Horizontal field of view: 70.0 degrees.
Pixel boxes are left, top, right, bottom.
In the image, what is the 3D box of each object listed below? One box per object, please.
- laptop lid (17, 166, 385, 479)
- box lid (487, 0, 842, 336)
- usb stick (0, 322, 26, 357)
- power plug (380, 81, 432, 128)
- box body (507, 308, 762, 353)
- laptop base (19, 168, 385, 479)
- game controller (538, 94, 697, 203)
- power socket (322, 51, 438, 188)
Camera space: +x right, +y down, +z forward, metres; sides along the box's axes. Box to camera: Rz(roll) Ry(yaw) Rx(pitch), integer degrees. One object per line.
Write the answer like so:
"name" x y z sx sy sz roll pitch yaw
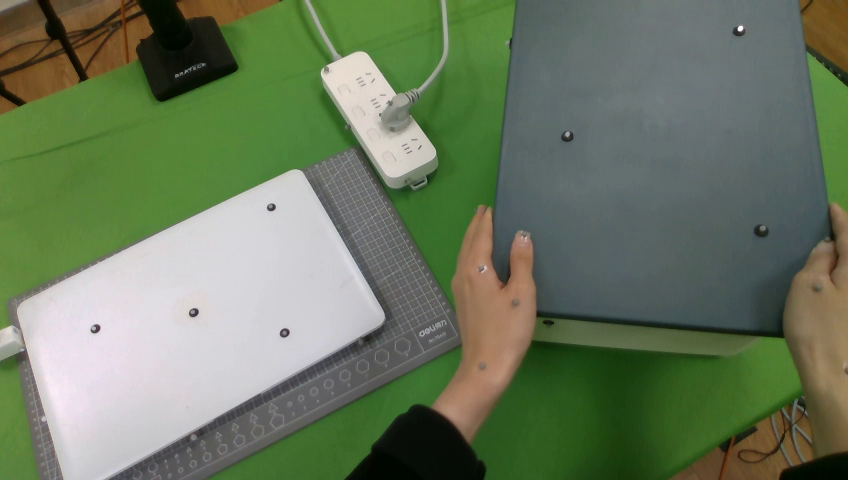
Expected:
"laptop lid" -0.247 0.077 0.661 0.357 0.013 0.239 -27 66 -9
"box lid" 0.201 -0.103 0.533 0.263 0.015 0.369 4 66 10
"usb stick" -0.454 0.108 0.659 0.059 0.027 0.021 -24 58 -12
"power plug" -0.019 -0.159 0.748 0.072 0.053 0.035 -17 62 -7
"box body" 0.219 -0.075 0.639 0.254 0.162 0.361 4 63 6
"laptop base" -0.248 0.081 0.673 0.354 0.023 0.233 -28 68 -10
"game controller" 0.207 -0.103 0.636 0.154 0.052 0.096 17 60 13
"power socket" -0.059 -0.159 0.776 0.072 0.033 0.224 -27 64 -11
